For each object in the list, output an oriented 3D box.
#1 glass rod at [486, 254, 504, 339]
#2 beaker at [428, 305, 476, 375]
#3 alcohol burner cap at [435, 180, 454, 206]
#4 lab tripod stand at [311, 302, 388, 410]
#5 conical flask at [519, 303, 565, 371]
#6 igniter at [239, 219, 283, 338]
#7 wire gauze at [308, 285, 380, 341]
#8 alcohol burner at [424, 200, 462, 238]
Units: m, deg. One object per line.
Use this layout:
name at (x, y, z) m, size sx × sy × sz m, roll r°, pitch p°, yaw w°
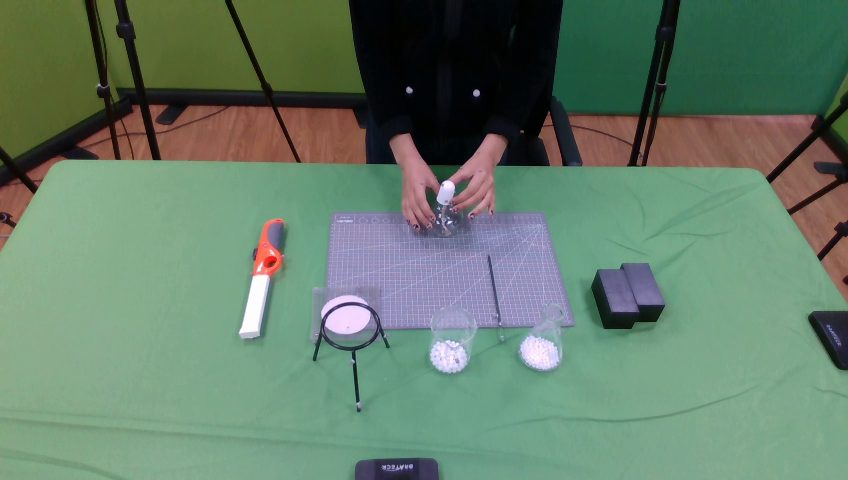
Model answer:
glass rod at (0.129, 0.099, 1.119) m, size 0.008 × 0.008 × 0.198 m, roll -1°, pitch 46°, yaw -4°
beaker at (0.044, 0.168, 0.987) m, size 0.074 × 0.101 × 0.083 m, roll 1°, pitch 47°, yaw -3°
alcohol burner cap at (0.042, -0.092, 1.165) m, size 0.034 × 0.048 × 0.033 m, roll 7°, pitch 45°, yaw -6°
lab tripod stand at (-0.113, 0.168, 0.951) m, size 0.148 × 0.132 × 0.147 m, roll 2°, pitch 44°, yaw -2°
conical flask at (0.201, 0.155, 0.997) m, size 0.075 × 0.122 × 0.075 m, roll 2°, pitch 46°, yaw -2°
igniter at (-0.298, 0.061, 1.113) m, size 0.057 × 0.025 × 0.274 m, roll -5°, pitch 46°, yaw 4°
wire gauze at (-0.141, 0.128, 1.071) m, size 0.125 × 0.011 × 0.120 m, roll -1°, pitch 46°, yaw -5°
alcohol burner at (0.039, -0.063, 1.197) m, size 0.078 × 0.119 × 0.077 m, roll 2°, pitch 44°, yaw -2°
